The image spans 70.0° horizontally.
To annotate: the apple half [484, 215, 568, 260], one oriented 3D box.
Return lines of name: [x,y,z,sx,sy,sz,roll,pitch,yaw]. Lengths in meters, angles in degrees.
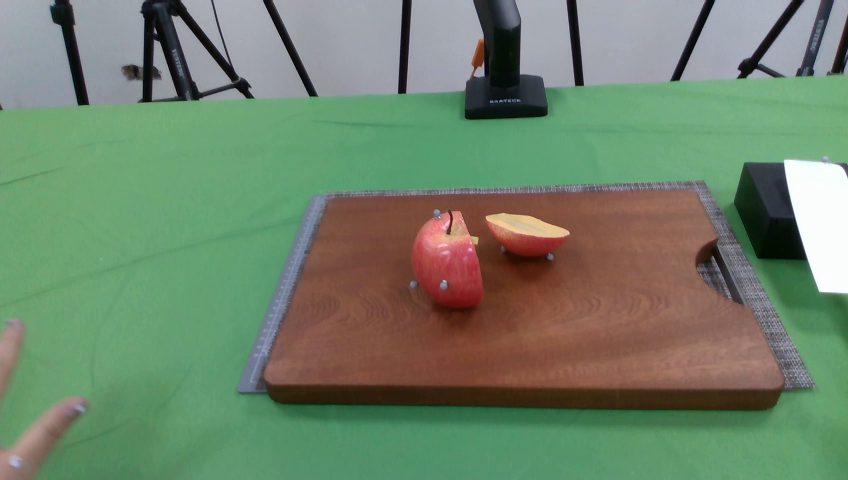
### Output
apple half: [0.091,0.002,0.572,0.081,0.033,0.081,9,17,-2]

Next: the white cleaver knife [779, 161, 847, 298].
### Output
white cleaver knife: [0.365,0.031,0.522,0.066,0.022,0.284,0,48,12]

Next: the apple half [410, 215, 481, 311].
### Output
apple half: [0.016,0.023,0.526,0.053,0.075,0.080,-14,41,-4]
